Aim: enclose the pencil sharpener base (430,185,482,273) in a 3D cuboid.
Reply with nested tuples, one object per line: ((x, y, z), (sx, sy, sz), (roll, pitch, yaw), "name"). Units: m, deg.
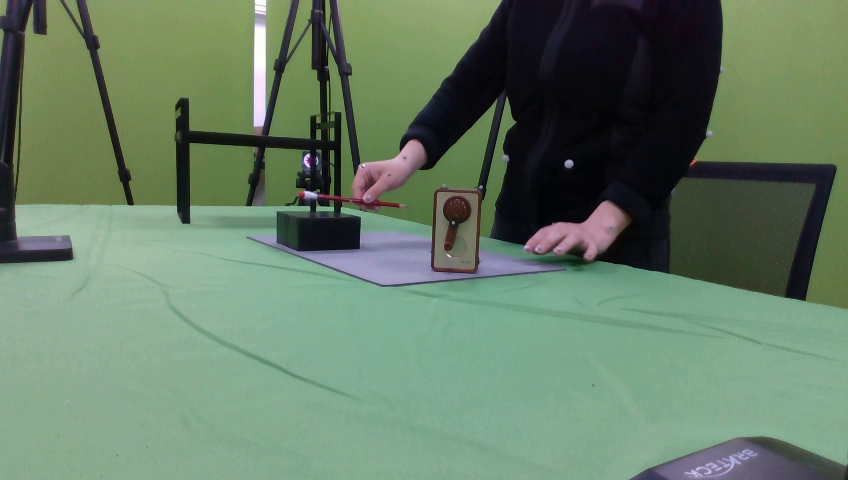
((0.042, -0.016, 0.783), (0.061, 0.107, 0.077), (3, 8, 4), "pencil sharpener base")

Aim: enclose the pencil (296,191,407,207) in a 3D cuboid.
((-0.111, -0.064, 0.971), (0.195, 0.012, 0.012), (4, 6, -31), "pencil")

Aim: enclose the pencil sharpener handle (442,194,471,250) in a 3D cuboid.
((0.036, -0.021, 0.731), (0.036, 0.067, 0.030), (11, 8, 3), "pencil sharpener handle")
